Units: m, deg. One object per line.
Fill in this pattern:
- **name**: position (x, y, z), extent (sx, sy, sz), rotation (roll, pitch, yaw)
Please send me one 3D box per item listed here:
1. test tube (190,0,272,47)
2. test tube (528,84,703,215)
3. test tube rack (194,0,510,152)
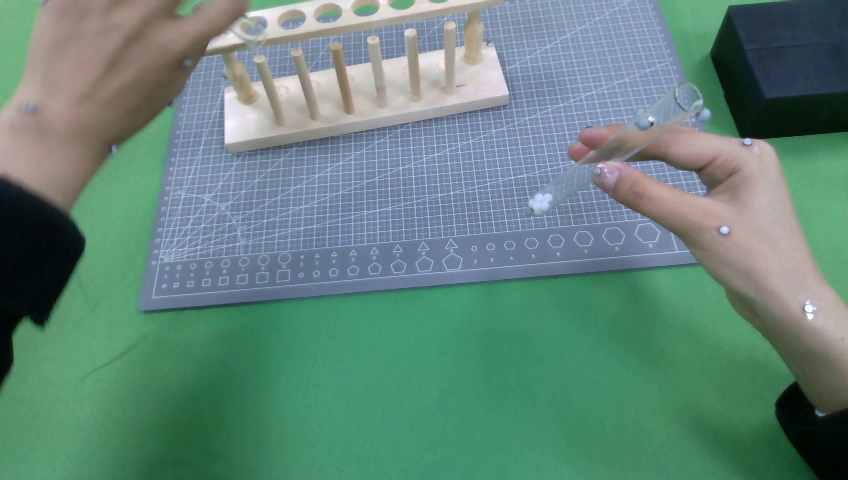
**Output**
- **test tube**: position (-0.161, -0.169, 0.377), extent (0.017, 0.152, 0.017), rotation (-27, 49, 36)
- **test tube**: position (0.099, -0.044, 0.343), extent (0.017, 0.150, 0.017), rotation (6, 71, -18)
- **test tube rack**: position (-0.053, -0.145, 0.499), extent (0.242, 0.086, 0.066), rotation (-10, 60, -1)
